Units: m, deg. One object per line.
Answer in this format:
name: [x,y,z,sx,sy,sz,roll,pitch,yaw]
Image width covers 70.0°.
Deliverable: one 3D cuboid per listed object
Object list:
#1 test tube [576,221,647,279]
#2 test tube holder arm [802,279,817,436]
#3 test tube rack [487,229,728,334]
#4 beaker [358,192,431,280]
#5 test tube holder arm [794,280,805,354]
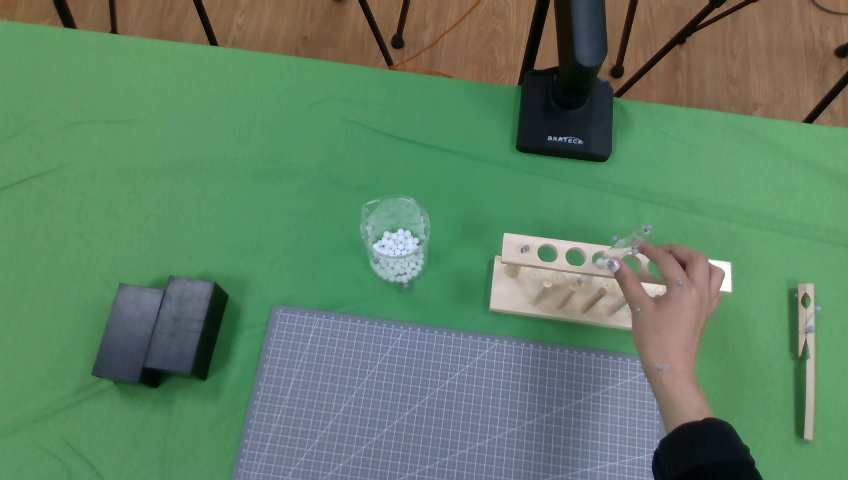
test tube: [0.192,0.014,0.635,0.017,0.151,0.017,3,70,-7]
test tube holder arm: [0.436,0.130,0.687,0.013,0.015,0.177,-5,65,34]
test tube rack: [0.198,0.049,0.677,0.242,0.085,0.066,7,69,1]
beaker: [-0.035,-0.002,0.681,0.083,0.101,0.074,35,72,12]
test tube holder arm: [0.438,0.089,0.705,0.010,0.015,0.087,-4,66,35]
